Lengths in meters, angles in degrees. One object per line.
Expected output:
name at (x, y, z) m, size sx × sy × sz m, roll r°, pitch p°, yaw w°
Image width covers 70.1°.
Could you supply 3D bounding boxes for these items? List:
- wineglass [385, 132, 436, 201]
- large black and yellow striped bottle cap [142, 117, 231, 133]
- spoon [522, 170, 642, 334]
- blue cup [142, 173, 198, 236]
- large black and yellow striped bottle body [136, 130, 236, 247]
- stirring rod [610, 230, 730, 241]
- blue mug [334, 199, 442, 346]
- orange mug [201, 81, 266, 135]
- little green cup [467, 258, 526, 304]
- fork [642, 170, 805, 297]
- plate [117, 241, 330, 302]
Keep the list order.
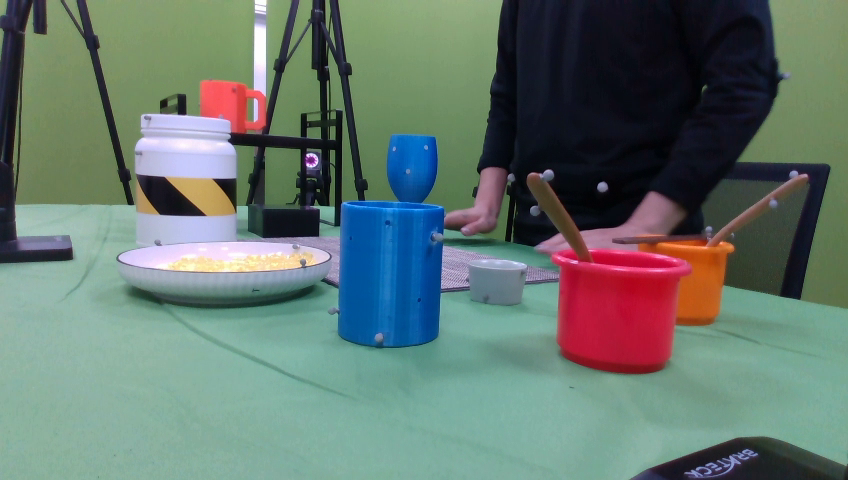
wineglass at (-0.020, -0.061, 0.842) m, size 0.074 × 0.172 × 0.073 m, roll 2°, pitch 7°, yaw 0°
large black and yellow striped bottle cap at (-0.328, -0.159, 0.839) m, size 0.115 × 0.019 × 0.115 m, roll 1°, pitch 9°, yaw 0°
spoon at (0.110, 0.016, 0.424) m, size 0.041 × 0.021 × 0.194 m, roll 7°, pitch -36°, yaw 43°
blue cup at (-0.425, -0.060, 1.014) m, size 0.093 × 0.100 × 0.092 m, roll 4°, pitch 8°, yaw 0°
large black and yellow striped bottle body at (-0.332, -0.076, 0.851) m, size 0.131 × 0.184 × 0.130 m, roll 3°, pitch 8°, yaw 0°
stirring rod at (0.241, -0.005, 0.582) m, size 0.177 × 0.006 × 0.014 m, roll -3°, pitch 9°, yaw -34°
blue mug at (-0.034, 0.020, 0.498) m, size 0.083 × 0.106 × 0.116 m, roll 0°, pitch 7°, yaw -20°
orange mug at (-0.377, -0.260, 1.198) m, size 0.126 × 0.101 × 0.083 m, roll -3°, pitch 8°, yaw -6°
little green cup at (0.074, 0.042, 0.626) m, size 0.061 × 0.038 × 0.061 m, roll 3°, pitch 7°, yaw 0°
fork at (0.261, 0.004, 0.545) m, size 0.028 × 0.018 × 0.207 m, roll 6°, pitch -38°, yaw -15°
plate at (-0.203, 0.031, 0.630) m, size 0.209 × 0.038 × 0.209 m, roll 3°, pitch 7°, yaw 0°
